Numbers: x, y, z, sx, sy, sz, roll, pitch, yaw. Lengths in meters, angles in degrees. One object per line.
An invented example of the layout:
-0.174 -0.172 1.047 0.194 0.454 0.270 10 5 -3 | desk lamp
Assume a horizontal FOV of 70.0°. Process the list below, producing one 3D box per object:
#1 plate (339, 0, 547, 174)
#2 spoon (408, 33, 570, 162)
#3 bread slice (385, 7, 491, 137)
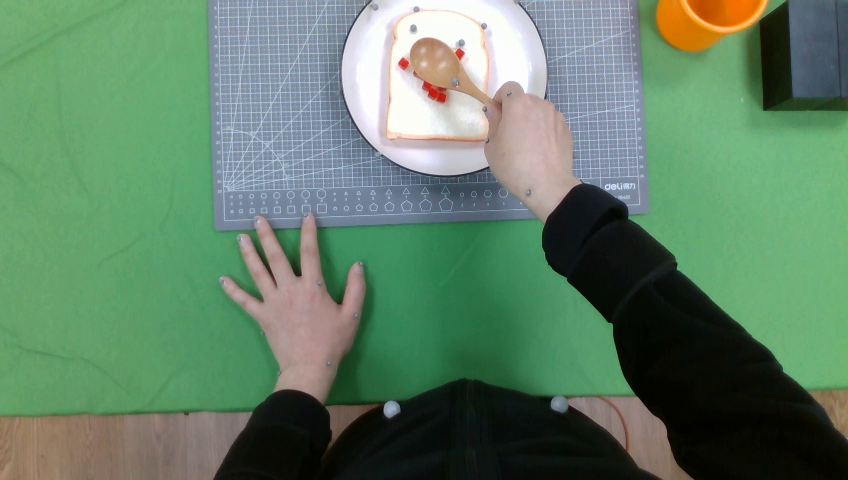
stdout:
0.020 -0.168 0.616 0.209 0.038 0.209 0 87 -3 | plate
0.060 -0.133 0.572 0.192 0.022 0.041 42 93 17 | spoon
0.012 -0.169 0.617 0.107 0.018 0.134 -2 88 -3 | bread slice
